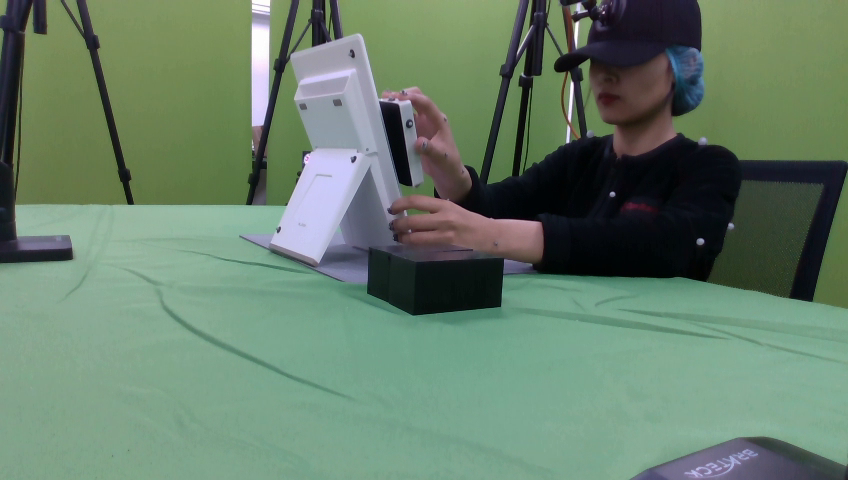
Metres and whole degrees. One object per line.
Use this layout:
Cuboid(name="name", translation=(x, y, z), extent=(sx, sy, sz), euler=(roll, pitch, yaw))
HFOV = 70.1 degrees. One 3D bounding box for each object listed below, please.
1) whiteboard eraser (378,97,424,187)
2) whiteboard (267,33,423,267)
Cuboid(name="whiteboard eraser", translation=(-0.034, -0.126, 0.780), extent=(0.042, 0.113, 0.055), euler=(-27, 30, -30))
Cuboid(name="whiteboard", translation=(-0.153, -0.097, 0.818), extent=(0.144, 0.305, 0.216), euler=(-24, 20, -28))
